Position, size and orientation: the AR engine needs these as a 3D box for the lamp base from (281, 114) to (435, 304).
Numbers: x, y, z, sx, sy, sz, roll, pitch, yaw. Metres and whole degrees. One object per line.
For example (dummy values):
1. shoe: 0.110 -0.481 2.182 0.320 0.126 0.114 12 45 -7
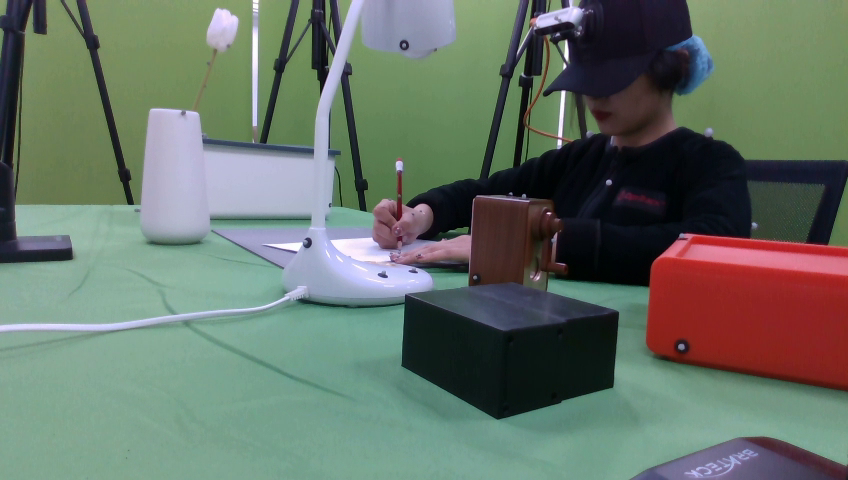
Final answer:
1. lamp base: -0.071 -0.034 0.614 0.160 0.180 0.180 6 10 27

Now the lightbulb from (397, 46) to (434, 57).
1. lightbulb: -0.017 -0.264 0.692 0.059 0.108 0.059 -9 28 5

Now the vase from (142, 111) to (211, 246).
1. vase: -0.378 -0.093 0.920 0.098 0.200 0.098 2 9 0

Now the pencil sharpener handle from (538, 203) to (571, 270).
1. pencil sharpener handle: 0.137 -0.003 0.619 0.030 0.067 0.036 8 7 38

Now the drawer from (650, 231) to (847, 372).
1. drawer: 0.303 0.044 0.499 0.194 0.073 0.212 7 9 27

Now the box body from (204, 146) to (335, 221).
1. box body: -0.410 -0.135 1.386 0.366 0.160 0.253 -2 9 -29

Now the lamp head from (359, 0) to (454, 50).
1. lamp head: -0.024 -0.282 0.674 0.112 0.123 0.112 -3 38 3

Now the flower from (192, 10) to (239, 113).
1. flower: -0.354 -0.174 0.915 0.038 0.361 0.044 18 -3 12

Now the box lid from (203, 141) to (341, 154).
1. box lid: -0.396 -0.212 1.373 0.373 0.015 0.262 -1 9 -29

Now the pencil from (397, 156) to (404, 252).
1. pencil: -0.038 -0.061 0.956 0.012 0.193 0.012 -1 -36 -1

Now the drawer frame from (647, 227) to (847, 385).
1. drawer frame: 0.303 0.043 0.495 0.201 0.082 0.214 6 9 26

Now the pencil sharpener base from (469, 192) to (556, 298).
1. pencil sharpener base: 0.097 0.003 0.652 0.076 0.107 0.061 8 9 38
